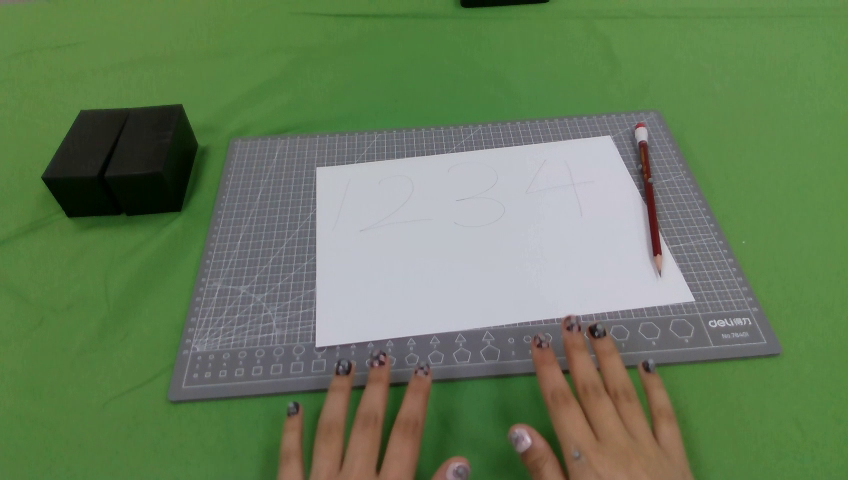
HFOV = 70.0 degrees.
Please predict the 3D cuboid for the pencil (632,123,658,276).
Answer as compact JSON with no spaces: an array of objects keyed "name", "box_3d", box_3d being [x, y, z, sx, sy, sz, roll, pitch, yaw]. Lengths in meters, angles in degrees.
[{"name":"pencil","box_3d":[0.202,-0.043,0.554,0.012,0.012,0.192,5,50,7]}]
